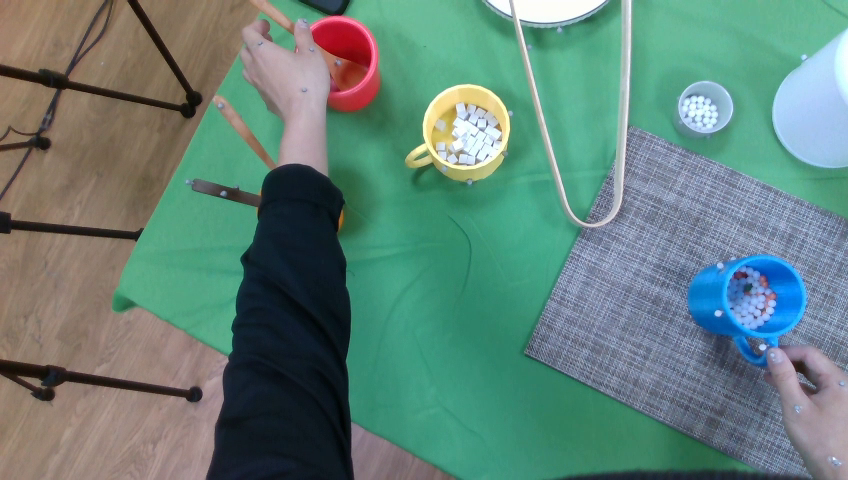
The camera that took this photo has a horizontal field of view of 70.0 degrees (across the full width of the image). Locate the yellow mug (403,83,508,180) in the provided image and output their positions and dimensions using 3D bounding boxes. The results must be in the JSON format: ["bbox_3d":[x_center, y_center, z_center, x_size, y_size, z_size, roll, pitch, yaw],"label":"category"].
[{"bbox_3d":[0.034,-0.119,0.714,0.131,0.064,0.099,-26,83,3],"label":"yellow mug"}]

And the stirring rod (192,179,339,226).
[{"bbox_3d":[-0.174,-0.041,0.686,0.177,0.006,0.014,15,78,-36],"label":"stirring rod"}]

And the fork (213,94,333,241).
[{"bbox_3d":[-0.167,-0.077,0.683,0.028,0.018,0.209,-36,125,-3],"label":"fork"}]

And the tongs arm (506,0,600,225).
[{"bbox_3d":[0.139,-0.202,0.709,0.051,0.026,0.384,-12,90,0],"label":"tongs arm"}]

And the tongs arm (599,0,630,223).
[{"bbox_3d":[0.223,-0.212,0.706,0.028,0.028,0.387,2,91,-3],"label":"tongs arm"}]

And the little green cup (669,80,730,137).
[{"bbox_3d":[0.319,-0.151,0.709,0.061,0.039,0.061,0,85,4],"label":"little green cup"}]

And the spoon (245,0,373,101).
[{"bbox_3d":[-0.135,-0.228,0.701,0.196,0.021,0.041,35,91,-36],"label":"spoon"}]

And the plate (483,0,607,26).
[{"bbox_3d":[0.149,-0.359,0.744,0.207,0.039,0.207,0,84,5],"label":"plate"}]

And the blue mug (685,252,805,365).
[{"bbox_3d":[0.342,0.075,0.646,0.082,0.106,0.116,-13,83,3],"label":"blue mug"}]

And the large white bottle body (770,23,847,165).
[{"bbox_3d":[0.463,-0.161,0.624,0.130,0.185,0.130,-1,83,5],"label":"large white bottle body"}]
